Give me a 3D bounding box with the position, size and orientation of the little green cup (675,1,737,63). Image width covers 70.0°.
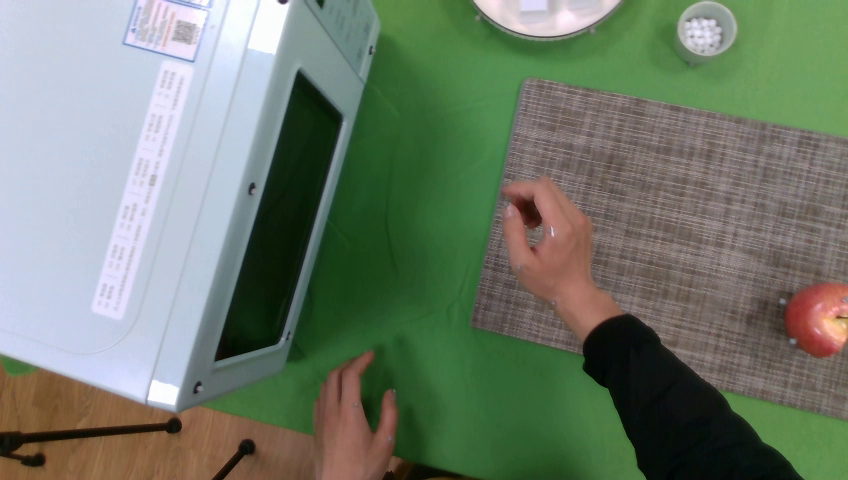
[{"bbox_3d":[0.312,-0.230,0.678,0.061,0.039,0.061,0,87,7],"label":"little green cup"}]

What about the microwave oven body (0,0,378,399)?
[{"bbox_3d":[-0.274,-0.110,0.626,0.325,0.261,0.441,16,90,7],"label":"microwave oven body"}]

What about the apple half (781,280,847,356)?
[{"bbox_3d":[0.407,0.074,0.632,0.053,0.075,0.081,33,95,11],"label":"apple half"}]

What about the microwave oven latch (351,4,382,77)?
[{"bbox_3d":[-0.072,-0.234,0.705,0.030,0.029,0.079,19,90,7],"label":"microwave oven latch"}]

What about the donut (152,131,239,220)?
[{"bbox_3d":[-0.251,-0.070,0.666,0.099,0.048,0.099,2,99,10],"label":"donut"}]

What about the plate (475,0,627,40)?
[{"bbox_3d":[0.148,-0.330,0.702,0.207,0.039,0.207,0,87,7],"label":"plate"}]

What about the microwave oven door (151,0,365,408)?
[{"bbox_3d":[-0.148,-0.029,0.603,0.039,0.244,0.355,16,89,8],"label":"microwave oven door"}]

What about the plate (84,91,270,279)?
[{"bbox_3d":[-0.271,-0.060,0.676,0.209,0.038,0.208,0,87,5],"label":"plate"}]
